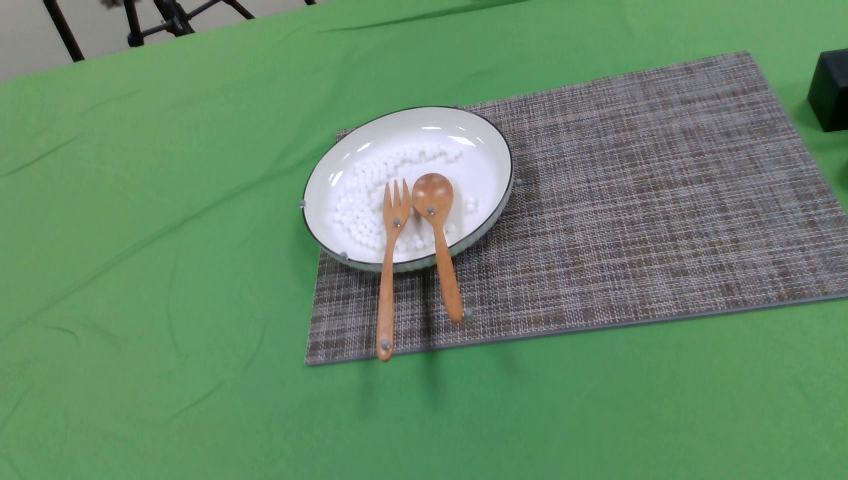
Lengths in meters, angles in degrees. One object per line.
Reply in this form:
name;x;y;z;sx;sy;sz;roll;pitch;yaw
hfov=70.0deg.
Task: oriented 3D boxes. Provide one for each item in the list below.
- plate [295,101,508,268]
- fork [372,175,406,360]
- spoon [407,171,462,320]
plate;-0.021;-0.053;0.588;0.207;0.039;0.205;-8;50;10
fork;-0.032;0.014;0.518;0.028;0.019;0.205;-7;43;7
spoon;0.010;-0.003;0.518;0.041;0.022;0.191;-12;36;2
